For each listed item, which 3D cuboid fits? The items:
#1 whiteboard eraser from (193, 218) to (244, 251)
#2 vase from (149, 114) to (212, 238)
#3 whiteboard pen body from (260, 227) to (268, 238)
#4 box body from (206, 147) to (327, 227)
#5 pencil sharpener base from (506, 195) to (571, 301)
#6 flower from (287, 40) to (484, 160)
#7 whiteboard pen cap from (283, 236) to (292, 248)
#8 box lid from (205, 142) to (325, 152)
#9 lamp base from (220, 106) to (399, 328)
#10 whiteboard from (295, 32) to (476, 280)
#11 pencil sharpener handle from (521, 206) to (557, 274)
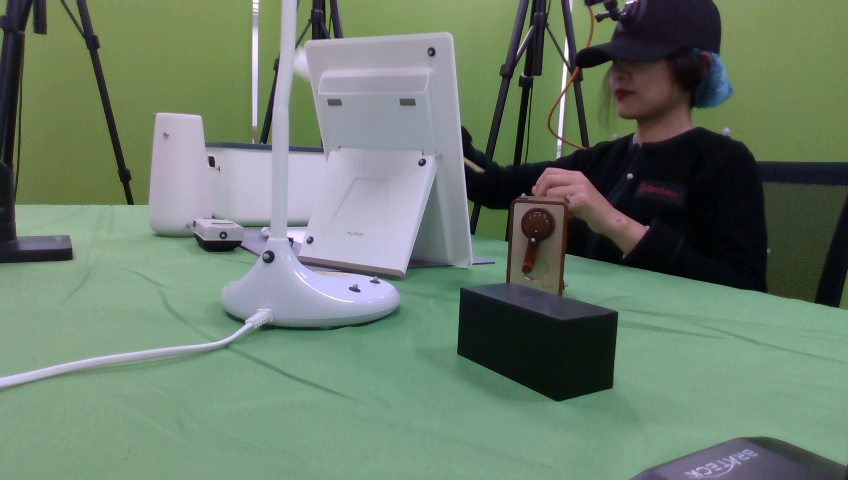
[{"bbox_3d":[-0.307,-0.010,0.900,0.056,0.042,0.112,-4,10,-28],"label":"whiteboard eraser"},{"bbox_3d":[-0.405,-0.106,1.005,0.098,0.200,0.098,2,6,0],"label":"vase"},{"bbox_3d":[-0.239,-0.005,0.964,0.017,0.017,0.140,-2,9,-28],"label":"whiteboard pen body"},{"bbox_3d":[-0.276,-0.122,1.320,0.366,0.160,0.253,-2,9,-30],"label":"box body"},{"bbox_3d":[0.126,0.007,0.662,0.061,0.107,0.077,4,8,13],"label":"pencil sharpener base"},{"bbox_3d":[-0.053,-0.220,0.993,0.363,0.038,0.044,28,4,-14],"label":"flower"},{"bbox_3d":[-0.211,0.003,0.913,0.018,0.018,0.033,-2,6,-28],"label":"whiteboard pen cap"},{"bbox_3d":[-0.270,-0.196,1.311,0.373,0.015,0.262,-2,9,-30],"label":"box lid"},{"bbox_3d":[-0.102,-0.023,0.531,0.160,0.180,0.179,4,10,10],"label":"lamp base"},{"bbox_3d":[-0.076,-0.084,0.747,0.216,0.305,0.144,7,28,29],"label":"whiteboard"},{"bbox_3d":[0.112,0.000,0.611,0.036,0.067,0.031,13,10,11],"label":"pencil sharpener handle"}]
